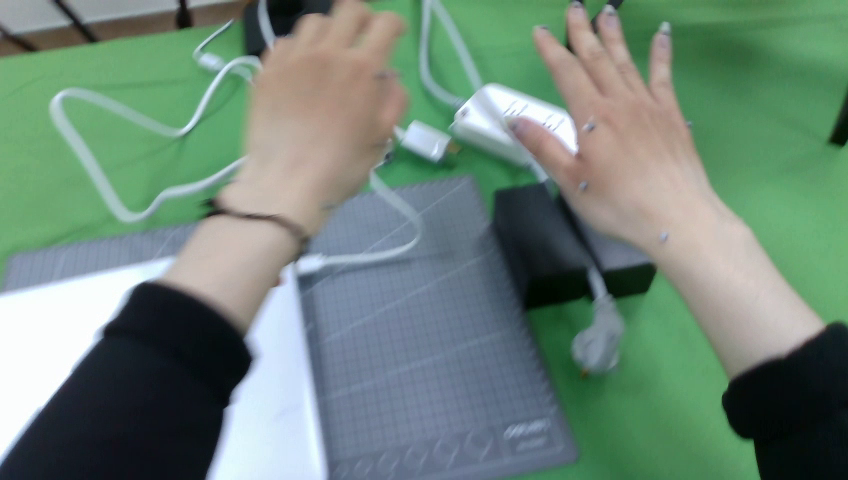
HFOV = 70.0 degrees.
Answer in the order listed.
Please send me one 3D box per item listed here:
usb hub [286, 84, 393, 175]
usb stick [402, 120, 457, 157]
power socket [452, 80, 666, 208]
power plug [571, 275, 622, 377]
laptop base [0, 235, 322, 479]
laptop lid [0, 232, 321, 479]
[{"bbox_3d":[-0.092,-0.119,0.643,0.049,0.025,0.124,-36,59,-22],"label":"usb hub"},{"bbox_3d":[0.008,-0.103,0.624,0.059,0.027,0.021,20,10,-1],"label":"usb stick"},{"bbox_3d":[0.134,-0.102,0.614,0.225,0.033,0.072,28,58,22],"label":"power socket"},{"bbox_3d":[0.136,0.072,0.475,0.035,0.053,0.072,28,46,1],"label":"power plug"},{"bbox_3d":[-0.267,0.126,0.469,0.355,0.023,0.233,-13,56,-7],"label":"laptop base"},{"bbox_3d":[-0.267,0.120,0.458,0.357,0.013,0.239,-11,55,-6],"label":"laptop lid"}]
